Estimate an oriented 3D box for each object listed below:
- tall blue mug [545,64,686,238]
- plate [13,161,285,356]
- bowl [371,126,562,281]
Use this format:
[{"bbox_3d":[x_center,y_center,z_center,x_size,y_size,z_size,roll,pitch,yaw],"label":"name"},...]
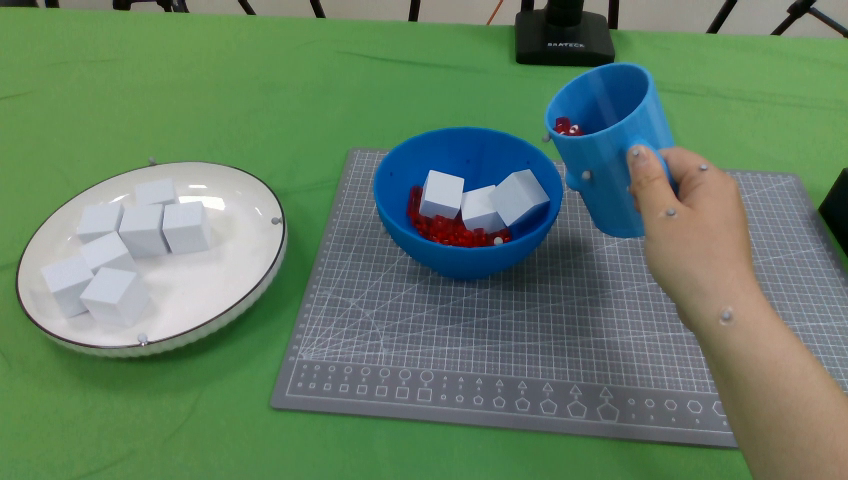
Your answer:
[{"bbox_3d":[0.154,-0.059,0.441,0.077,0.109,0.106,-49,40,-15],"label":"tall blue mug"},{"bbox_3d":[-0.219,0.013,0.503,0.209,0.038,0.207,1,46,0],"label":"plate"},{"bbox_3d":[0.033,-0.019,0.503,0.151,0.077,0.150,0,46,0],"label":"bowl"}]
